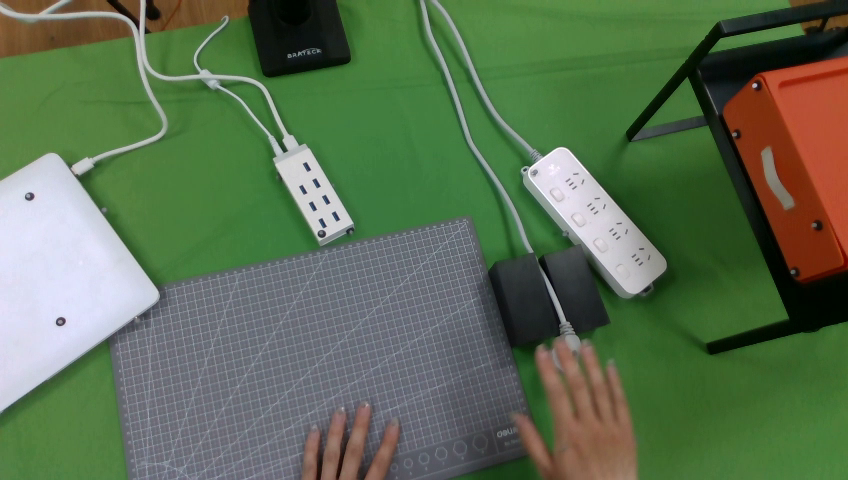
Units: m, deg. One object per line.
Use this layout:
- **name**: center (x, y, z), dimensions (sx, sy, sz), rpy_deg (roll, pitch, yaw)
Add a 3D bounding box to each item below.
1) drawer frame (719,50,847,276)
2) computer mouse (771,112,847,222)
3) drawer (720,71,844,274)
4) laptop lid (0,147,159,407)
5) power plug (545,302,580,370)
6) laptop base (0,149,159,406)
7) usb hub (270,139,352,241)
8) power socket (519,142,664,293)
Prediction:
- **drawer frame**: center (0.440, -0.088, 0.605), dimensions (0.214, 0.083, 0.200), rpy_deg (-14, 75, -10)
- **computer mouse**: center (0.407, -0.077, 0.615), dimensions (0.063, 0.041, 0.116), rpy_deg (-18, 75, -6)
- **drawer**: center (0.436, -0.086, 0.605), dimensions (0.212, 0.073, 0.193), rpy_deg (-13, 75, -10)
- **laptop lid**: center (-0.511, 0.076, 0.673), dimensions (0.356, 0.013, 0.241), rpy_deg (-36, 82, -14)
- **power plug**: center (0.161, 0.117, 0.710), dimensions (0.035, 0.053, 0.072), rpy_deg (16, 53, -17)
- **laptop base**: center (-0.513, 0.078, 0.685), dimensions (0.354, 0.023, 0.235), rpy_deg (-38, 83, -14)
- **usb hub**: center (-0.142, -0.063, 0.758), dimensions (0.049, 0.025, 0.124), rpy_deg (-29, 79, -12)
- **power socket**: center (0.215, -0.030, 0.779), dimensions (0.072, 0.033, 0.226), rpy_deg (-36, 80, -15)
